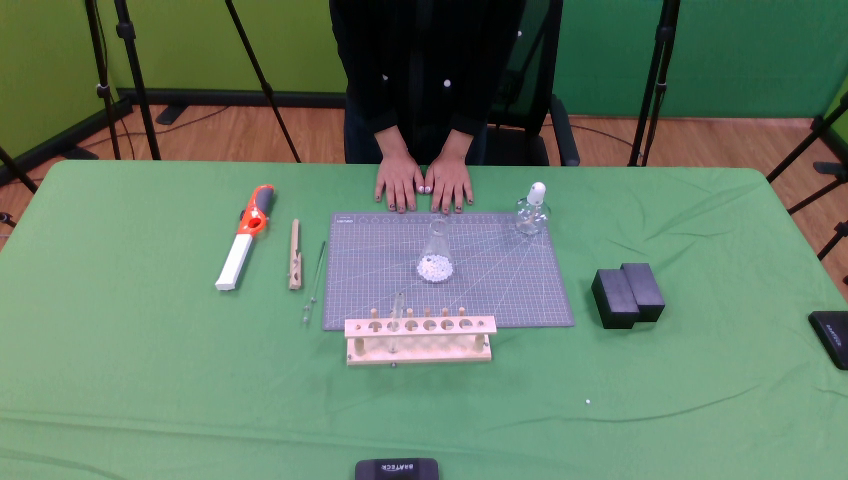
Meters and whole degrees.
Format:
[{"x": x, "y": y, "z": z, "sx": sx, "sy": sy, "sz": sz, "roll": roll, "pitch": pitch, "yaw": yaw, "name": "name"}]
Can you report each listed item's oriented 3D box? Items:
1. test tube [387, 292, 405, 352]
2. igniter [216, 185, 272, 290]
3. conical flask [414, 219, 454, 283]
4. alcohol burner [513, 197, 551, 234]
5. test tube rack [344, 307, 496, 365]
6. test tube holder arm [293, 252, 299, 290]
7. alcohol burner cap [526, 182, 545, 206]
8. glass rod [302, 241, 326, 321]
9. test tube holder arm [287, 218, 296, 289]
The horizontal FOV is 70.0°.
[{"x": -0.045, "y": 0.133, "z": 0.956, "sx": 0.017, "sy": 0.151, "sz": 0.017, "roll": 5, "pitch": 47, "yaw": -5, "name": "test tube"}, {"x": -0.347, "y": -0.014, "z": 1.182, "sx": 0.057, "sy": 0.025, "sz": 0.275, "roll": -1, "pitch": 45, "yaw": 8, "name": "igniter"}, {"x": 0.022, "y": 0.016, "z": 1.113, "sx": 0.075, "sy": 0.122, "sz": 0.075, "roll": 2, "pitch": 46, "yaw": -2, "name": "conical flask"}, {"x": 0.220, "y": -0.069, "z": 1.217, "sx": 0.078, "sy": 0.119, "sz": 0.077, "roll": 3, "pitch": 47, "yaw": -3, "name": "alcohol burner"}, {"x": -0.009, "y": 0.154, "z": 1.007, "sx": 0.242, "sy": 0.085, "sz": 0.066, "roll": -1, "pitch": 46, "yaw": -5, "name": "test tube rack"}, {"x": -0.241, "y": 0.056, "z": 1.131, "sx": 0.010, "sy": 0.015, "sz": 0.087, "roll": 25, "pitch": 35, "yaw": -33, "name": "test tube holder arm"}, {"x": 0.222, "y": -0.092, "z": 1.190, "sx": 0.034, "sy": 0.048, "sz": 0.033, "roll": 2, "pitch": 54, "yaw": -3, "name": "alcohol burner cap"}, {"x": -0.203, "y": 0.071, "z": 1.124, "sx": 0.008, "sy": 0.008, "sz": 0.198, "roll": 5, "pitch": 44, "yaw": 1, "name": "glass rod"}, {"x": -0.254, "y": 0.022, "z": 1.158, "sx": 0.013, "sy": 0.015, "sz": 0.177, "roll": 24, "pitch": 36, "yaw": -34, "name": "test tube holder arm"}]
